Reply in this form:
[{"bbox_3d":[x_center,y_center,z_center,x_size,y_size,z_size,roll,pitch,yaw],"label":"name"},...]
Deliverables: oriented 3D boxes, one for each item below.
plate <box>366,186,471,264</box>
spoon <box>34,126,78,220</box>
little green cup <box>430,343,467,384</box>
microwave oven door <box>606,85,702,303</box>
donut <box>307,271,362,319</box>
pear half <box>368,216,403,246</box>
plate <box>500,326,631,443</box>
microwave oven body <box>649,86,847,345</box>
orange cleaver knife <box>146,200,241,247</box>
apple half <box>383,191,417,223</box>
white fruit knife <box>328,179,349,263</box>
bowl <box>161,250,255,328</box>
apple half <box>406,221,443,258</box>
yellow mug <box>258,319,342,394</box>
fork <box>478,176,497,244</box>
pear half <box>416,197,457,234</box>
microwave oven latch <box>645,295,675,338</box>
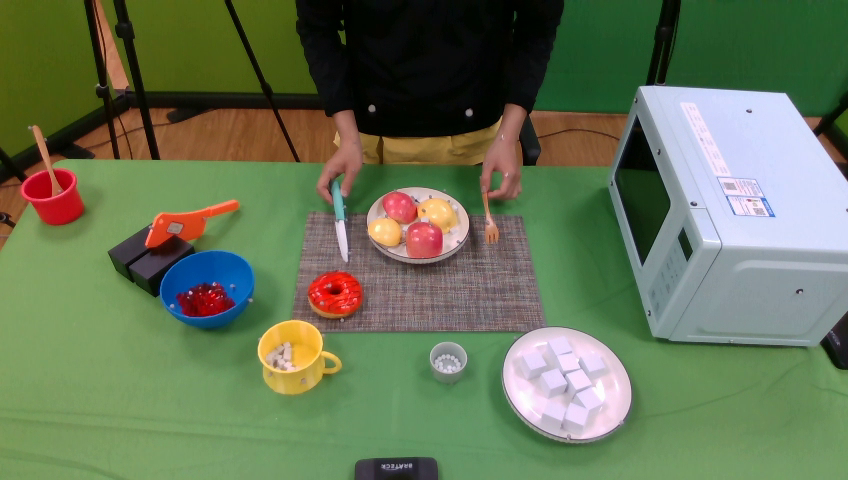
[{"bbox_3d":[-0.013,-0.027,1.207,0.209,0.038,0.208,2,46,-2],"label":"plate"},{"bbox_3d":[-0.726,-0.132,1.188,0.041,0.021,0.194,-18,95,-20],"label":"spoon"},{"bbox_3d":[0.039,0.203,0.994,0.061,0.039,0.061,2,46,-2],"label":"little green cup"},{"bbox_3d":[0.422,-0.094,1.140,0.039,0.245,0.353,2,46,-1],"label":"microwave oven door"},{"bbox_3d":[-0.157,0.097,1.073,0.099,0.048,0.098,4,45,-4],"label":"donut"},{"bbox_3d":[-0.070,-0.026,1.183,0.070,0.031,0.087,32,46,-2],"label":"pear half"},{"bbox_3d":[0.224,0.233,0.978,0.208,0.039,0.206,2,46,-2],"label":"plate"},{"bbox_3d":[0.568,-0.053,1.118,0.326,0.261,0.439,2,45,-1],"label":"microwave oven body"},{"bbox_3d":[-0.435,-0.033,1.157,0.012,0.077,0.211,31,26,19],"label":"orange cleaver knife"},{"bbox_3d":[-0.043,-0.072,1.225,0.081,0.033,0.081,18,42,-17],"label":"apple half"},{"bbox_3d":[-0.167,-0.042,1.205,0.027,0.016,0.206,-32,56,27],"label":"white fruit knife"},{"bbox_3d":[-0.362,0.097,1.040,0.151,0.077,0.150,2,45,-2],"label":"bowl"},{"bbox_3d":[0.001,-0.006,1.163,0.075,0.053,0.080,5,42,0],"label":"apple half"},{"bbox_3d":[-0.196,0.189,0.972,0.131,0.064,0.099,9,46,3],"label":"yellow mug"},{"bbox_3d":[0.124,-0.063,1.217,0.028,0.019,0.206,14,44,-16],"label":"fork"},{"bbox_3d":[0.017,-0.065,1.226,0.076,0.056,0.109,-27,50,-32],"label":"pear half"},{"bbox_3d":[0.412,0.134,1.061,0.030,0.029,0.078,3,45,0],"label":"microwave oven latch"}]
